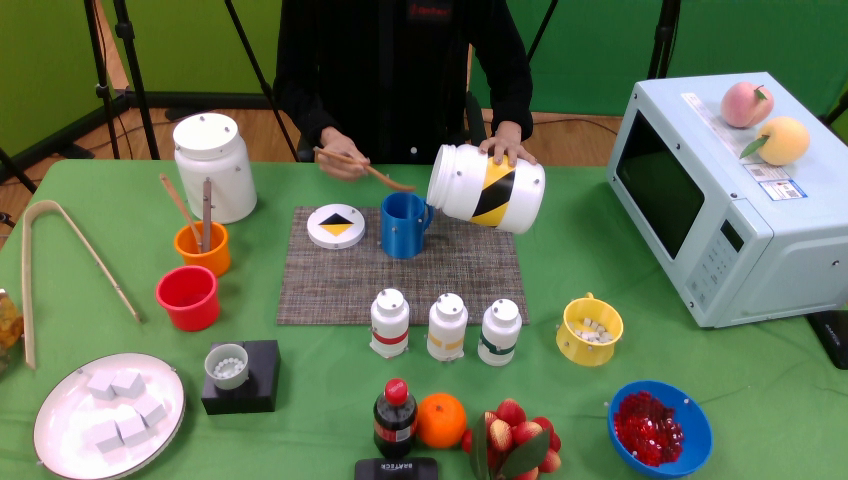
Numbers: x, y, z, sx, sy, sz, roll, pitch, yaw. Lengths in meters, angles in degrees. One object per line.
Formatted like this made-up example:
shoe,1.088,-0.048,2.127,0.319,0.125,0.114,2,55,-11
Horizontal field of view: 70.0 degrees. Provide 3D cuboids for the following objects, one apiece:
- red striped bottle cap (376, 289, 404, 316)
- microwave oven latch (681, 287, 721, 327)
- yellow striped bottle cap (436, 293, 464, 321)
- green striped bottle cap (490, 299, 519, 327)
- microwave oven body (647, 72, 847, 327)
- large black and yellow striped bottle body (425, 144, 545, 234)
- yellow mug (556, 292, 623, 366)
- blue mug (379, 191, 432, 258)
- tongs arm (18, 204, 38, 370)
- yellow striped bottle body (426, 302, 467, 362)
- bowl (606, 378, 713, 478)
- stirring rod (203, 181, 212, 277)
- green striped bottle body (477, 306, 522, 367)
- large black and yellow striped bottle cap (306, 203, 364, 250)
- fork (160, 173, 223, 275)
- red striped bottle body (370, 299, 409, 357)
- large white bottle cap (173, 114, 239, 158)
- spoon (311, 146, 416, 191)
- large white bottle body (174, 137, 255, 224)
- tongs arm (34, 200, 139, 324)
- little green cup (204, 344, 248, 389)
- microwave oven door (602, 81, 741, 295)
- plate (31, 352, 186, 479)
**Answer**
red striped bottle cap,-0.054,0.098,0.958,0.044,0.018,0.044,0,48,0
microwave oven latch,0.494,0.119,1.086,0.030,0.029,0.078,-5,46,-9
yellow striped bottle cap,0.041,0.106,0.959,0.044,0.019,0.044,-1,49,1
green striped bottle cap,0.128,0.115,0.958,0.044,0.020,0.044,2,47,-1
microwave oven body,0.607,-0.089,1.164,0.326,0.261,0.438,-7,46,-10
large black and yellow striped bottle body,0.103,-0.093,1.062,0.184,0.131,0.130,14,46,-7
yellow mug,0.285,0.145,1.051,0.100,0.064,0.130,7,45,3
blue mug,-0.031,-0.036,1.167,0.116,0.106,0.082,-27,54,-27
tongs arm,-0.698,0.070,1.069,0.028,0.028,0.385,-21,50,-13
yellow striped bottle body,0.037,0.142,0.996,0.063,0.121,0.062,2,46,-2
bowl,0.340,0.292,0.906,0.151,0.077,0.150,2,46,-2
stirring rod,-0.396,-0.021,1.108,0.014,0.006,0.176,-1,89,-1
green striped bottle body,0.124,0.151,0.995,0.063,0.120,0.063,2,46,-2
large black and yellow striped bottle cap,-0.178,-0.029,1.211,0.115,0.019,0.114,2,47,-2
fork,-0.426,-0.030,1.103,0.028,0.018,0.207,-30,99,-22
red striped bottle body,-0.057,0.135,0.997,0.063,0.120,0.062,2,47,-2
large white bottle cap,-0.403,-0.195,1.122,0.115,0.018,0.114,2,47,-2
spoon,-0.102,-0.123,1.039,0.194,0.021,0.041,24,3,-21
large white bottle body,-0.408,-0.136,1.183,0.131,0.185,0.130,2,46,-2
tongs arm,-0.622,0.034,1.105,0.051,0.026,0.382,-32,56,-25
little green cup,-0.294,0.191,0.909,0.061,0.039,0.061,1,48,-1
microwave oven door,0.456,-0.107,1.162,0.039,0.245,0.353,-6,47,-11
plate,-0.459,0.262,0.898,0.209,0.038,0.208,2,46,-2
